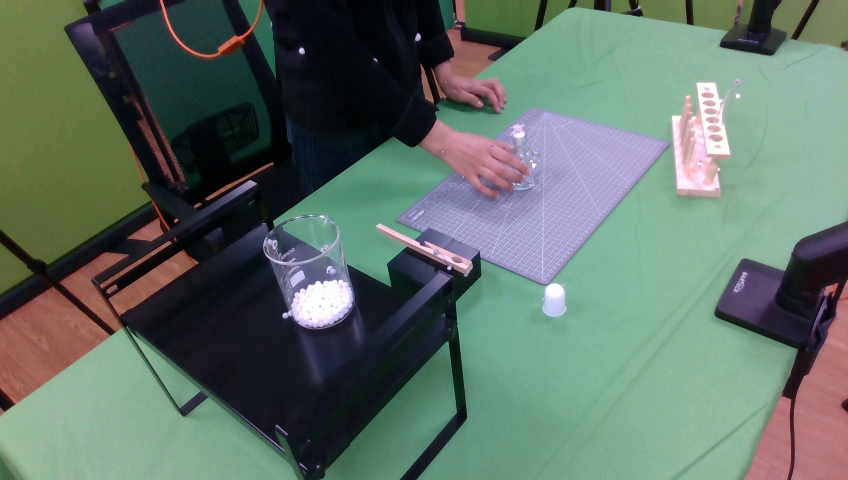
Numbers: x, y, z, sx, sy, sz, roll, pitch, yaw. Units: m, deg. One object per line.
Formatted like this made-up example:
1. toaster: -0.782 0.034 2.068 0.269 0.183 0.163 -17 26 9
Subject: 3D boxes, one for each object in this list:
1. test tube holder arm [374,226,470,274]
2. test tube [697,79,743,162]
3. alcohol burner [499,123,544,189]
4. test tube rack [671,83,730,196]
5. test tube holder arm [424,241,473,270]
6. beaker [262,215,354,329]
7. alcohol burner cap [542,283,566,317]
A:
1. test tube holder arm: -0.007 0.012 0.893 0.177 0.015 0.013 21 48 31
2. test tube: 0.486 -0.194 0.998 0.017 0.150 0.017 5 40 -4
3. alcohol burner: 0.168 -0.149 1.048 0.078 0.119 0.077 -6 41 5
4. test tube rack: 0.482 -0.184 1.067 0.066 0.085 0.242 5 42 15
5. test tube holder arm: 0.032 0.023 0.872 0.087 0.015 0.010 22 49 32
6. beaker: -0.112 0.034 0.616 0.073 0.101 0.084 13 44 23
7. alcohol burner cap: 0.181 0.080 0.839 0.034 0.048 0.033 -4 40 4
